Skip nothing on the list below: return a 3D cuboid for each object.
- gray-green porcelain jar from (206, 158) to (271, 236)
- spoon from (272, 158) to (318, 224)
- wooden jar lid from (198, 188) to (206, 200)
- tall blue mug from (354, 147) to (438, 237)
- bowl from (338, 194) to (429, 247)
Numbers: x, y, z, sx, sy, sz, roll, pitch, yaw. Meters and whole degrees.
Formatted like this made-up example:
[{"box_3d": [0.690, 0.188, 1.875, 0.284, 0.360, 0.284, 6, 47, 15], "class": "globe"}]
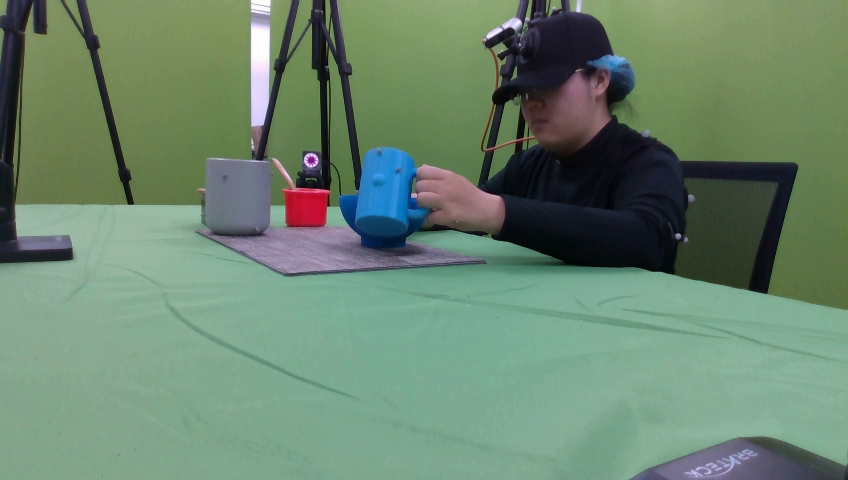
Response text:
[{"box_3d": [-0.316, -0.074, 1.032, 0.106, 0.126, 0.106, 3, 7, 0], "class": "gray-green porcelain jar"}, {"box_3d": [-0.268, -0.103, 1.236, 0.042, 0.193, 0.021, -10, -32, -39], "class": "spoon"}, {"box_3d": [-0.382, -0.088, 1.175, 0.108, 0.020, 0.108, 3, 8, 0], "class": "wooden jar lid"}, {"box_3d": [-0.041, -0.065, 0.872, 0.107, 0.108, 0.077, 11, -23, -14], "class": "tall blue mug"}, {"box_3d": [-0.066, -0.031, 0.984, 0.151, 0.077, 0.151, 3, 7, 0], "class": "bowl"}]
